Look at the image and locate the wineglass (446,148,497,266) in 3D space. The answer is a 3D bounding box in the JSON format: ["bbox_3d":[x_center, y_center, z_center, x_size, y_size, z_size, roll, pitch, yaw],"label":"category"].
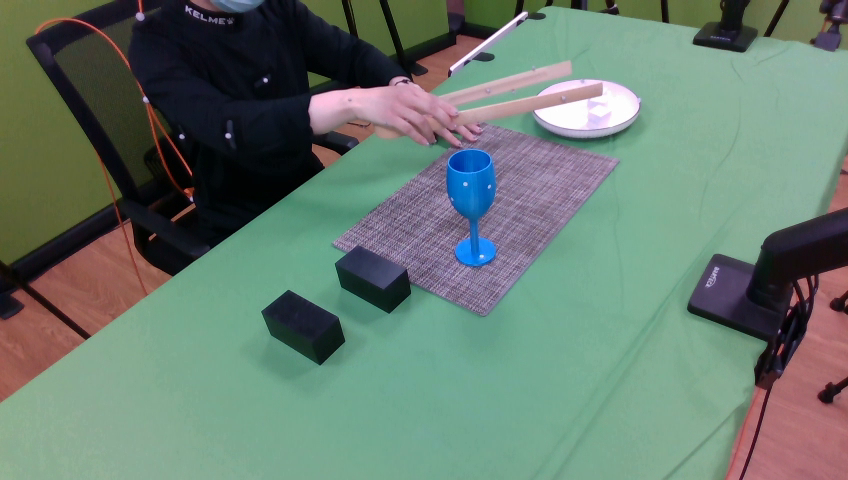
[{"bbox_3d":[0.072,-0.046,0.889,0.074,0.173,0.073,-4,41,4],"label":"wineglass"}]

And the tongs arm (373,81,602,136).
[{"bbox_3d":[0.107,-0.220,1.014,0.388,0.028,0.028,-10,37,1],"label":"tongs arm"}]

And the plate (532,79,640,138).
[{"bbox_3d":[0.322,-0.259,1.212,0.209,0.038,0.208,-4,40,4],"label":"plate"}]

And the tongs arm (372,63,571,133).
[{"bbox_3d":[0.093,-0.255,1.074,0.386,0.026,0.050,-15,33,-8],"label":"tongs arm"}]
